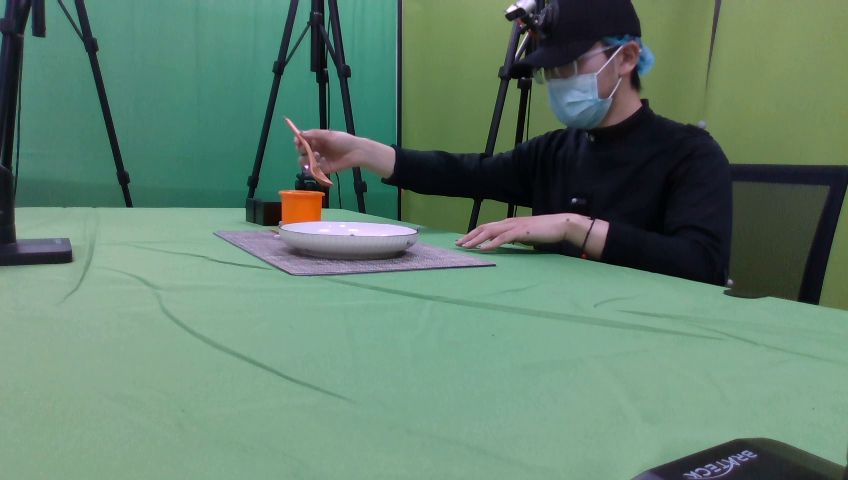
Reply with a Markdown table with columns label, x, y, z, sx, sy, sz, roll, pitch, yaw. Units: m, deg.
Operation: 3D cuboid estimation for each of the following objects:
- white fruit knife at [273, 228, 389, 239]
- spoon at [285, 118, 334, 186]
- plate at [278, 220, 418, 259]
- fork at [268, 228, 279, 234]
| label | x | y | z | sx | sy | sz | roll | pitch | yaw |
| --- | --- | --- | --- | --- | --- | --- | --- | --- | --- |
| white fruit knife | -0.158 | -0.009 | 1.055 | 0.208 | 0.016 | 0.027 | -3 | -22 | -23 |
| spoon | -0.217 | -0.166 | 1.128 | 0.042 | 0.021 | 0.193 | 13 | 40 | -53 |
| plate | -0.114 | -0.002 | 0.914 | 0.209 | 0.038 | 0.209 | 2 | 7 | 0 |
| fork | -0.174 | -0.017 | 1.084 | 0.208 | 0.018 | 0.028 | -3 | -3 | -30 |
